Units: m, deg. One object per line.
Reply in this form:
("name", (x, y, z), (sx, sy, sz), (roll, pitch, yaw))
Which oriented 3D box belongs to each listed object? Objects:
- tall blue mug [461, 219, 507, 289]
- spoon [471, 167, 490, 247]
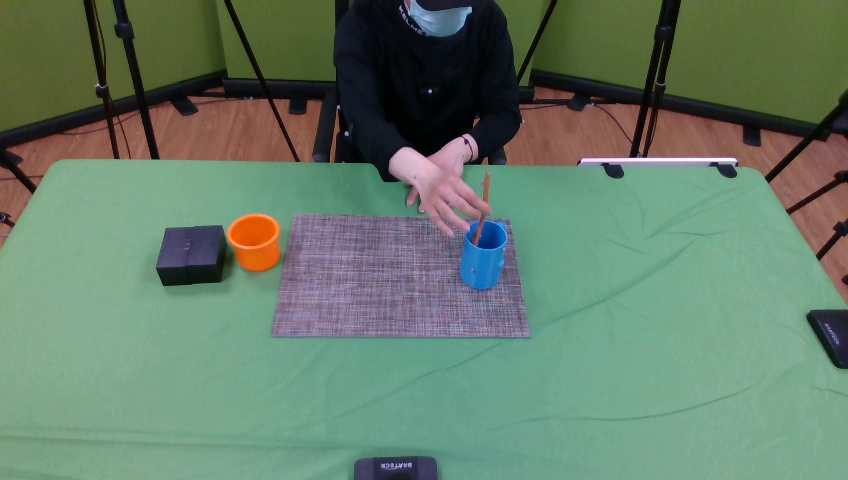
("tall blue mug", (0.111, 0.016, 1.122), (0.078, 0.108, 0.106), (6, 46, 4))
("spoon", (0.101, -0.041, 1.055), (0.022, 0.194, 0.041), (1, 35, -9))
